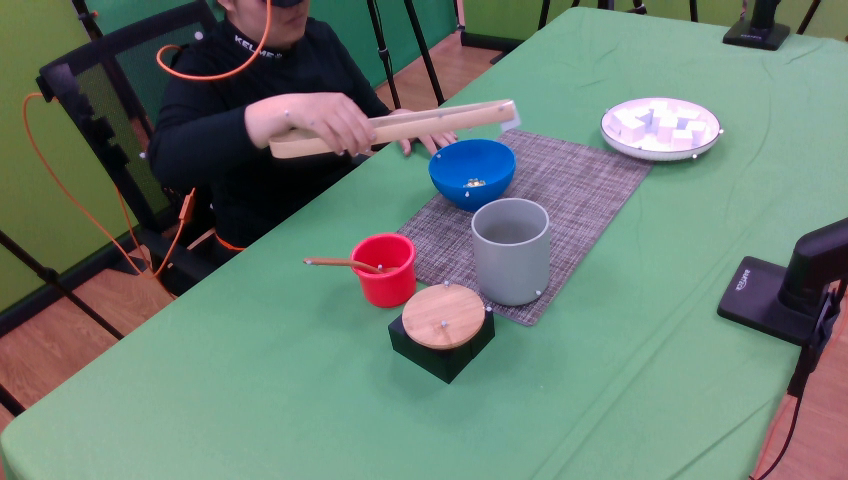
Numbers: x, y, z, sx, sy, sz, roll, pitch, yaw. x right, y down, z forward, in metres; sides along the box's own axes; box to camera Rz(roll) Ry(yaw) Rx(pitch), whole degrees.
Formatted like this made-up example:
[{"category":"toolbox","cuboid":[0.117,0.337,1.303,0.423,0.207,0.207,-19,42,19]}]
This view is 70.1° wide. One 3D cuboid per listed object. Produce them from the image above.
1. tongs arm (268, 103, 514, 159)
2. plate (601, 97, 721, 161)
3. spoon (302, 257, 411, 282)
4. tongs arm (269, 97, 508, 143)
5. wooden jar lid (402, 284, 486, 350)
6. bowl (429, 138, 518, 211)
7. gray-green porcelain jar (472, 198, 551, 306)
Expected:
[{"category":"tongs arm","cuboid":[-0.052,-0.174,0.950,0.385,0.026,0.050,-12,32,-5]},{"category":"plate","cuboid":[0.436,-0.203,1.126,0.209,0.038,0.208,-5,39,4]},{"category":"spoon","cuboid":[-0.092,0.038,0.865,0.195,0.021,0.041,16,15,-46]},{"category":"tongs arm","cuboid":[-0.054,-0.186,0.971,0.388,0.028,0.028,-10,35,-1]},{"category":"wooden jar lid","cuboid":[0.026,0.101,0.786,0.108,0.021,0.108,-5,39,4]},{"category":"bowl","cuboid":[0.087,-0.104,1.043,0.151,0.077,0.150,-5,40,5]},{"category":"gray-green porcelain jar","cuboid":[0.125,0.021,0.850,0.106,0.127,0.105,-6,40,5]}]
